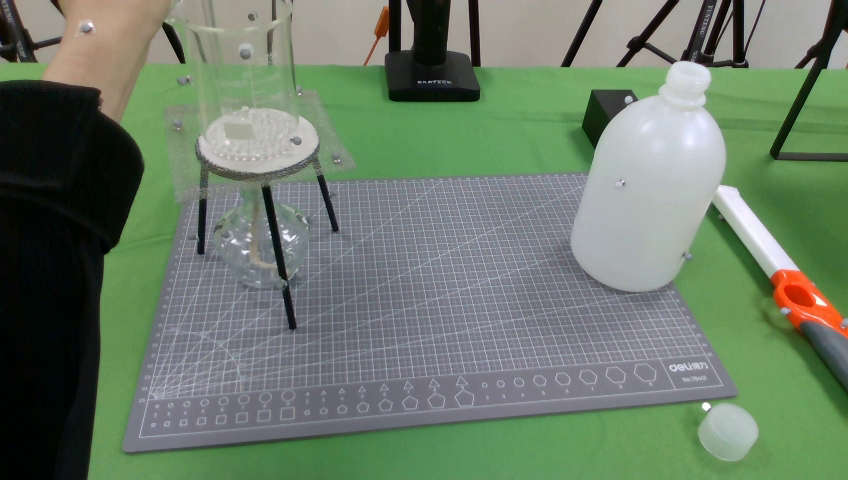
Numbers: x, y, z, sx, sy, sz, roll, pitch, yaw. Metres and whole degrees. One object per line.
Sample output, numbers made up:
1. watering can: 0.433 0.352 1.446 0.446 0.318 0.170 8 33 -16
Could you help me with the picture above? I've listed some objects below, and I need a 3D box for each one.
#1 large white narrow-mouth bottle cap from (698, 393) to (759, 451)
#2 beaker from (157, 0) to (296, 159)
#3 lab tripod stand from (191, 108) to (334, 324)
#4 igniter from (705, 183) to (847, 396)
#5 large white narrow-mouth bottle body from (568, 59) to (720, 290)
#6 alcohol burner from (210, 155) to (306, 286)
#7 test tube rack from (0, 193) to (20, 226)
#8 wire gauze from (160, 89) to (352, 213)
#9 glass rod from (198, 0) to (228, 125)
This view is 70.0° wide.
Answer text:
1. large white narrow-mouth bottle cap: 0.221 0.132 0.441 0.038 0.024 0.037 2 42 -2
2. beaker: -0.130 -0.114 0.419 0.084 0.101 0.073 -7 45 -13
3. lab tripod stand: -0.128 -0.026 0.493 0.148 0.132 0.147 4 43 -4
4. igniter: 0.329 0.038 0.551 0.057 0.025 0.273 6 41 -14
5. large white narrow-mouth bottle body: 0.189 -0.055 0.511 0.102 0.196 0.101 2 42 -2
6. alcohol burner: -0.138 -0.020 0.500 0.078 0.120 0.077 4 40 -3
7. test tube rack: -0.479 -0.011 0.482 0.066 0.086 0.242 33 49 27
8. wire gauze: -0.128 -0.075 0.450 0.122 0.011 0.123 -14 49 -17
9. glass rod: -0.146 -0.166 0.393 0.008 0.201 0.008 2 37 -1
